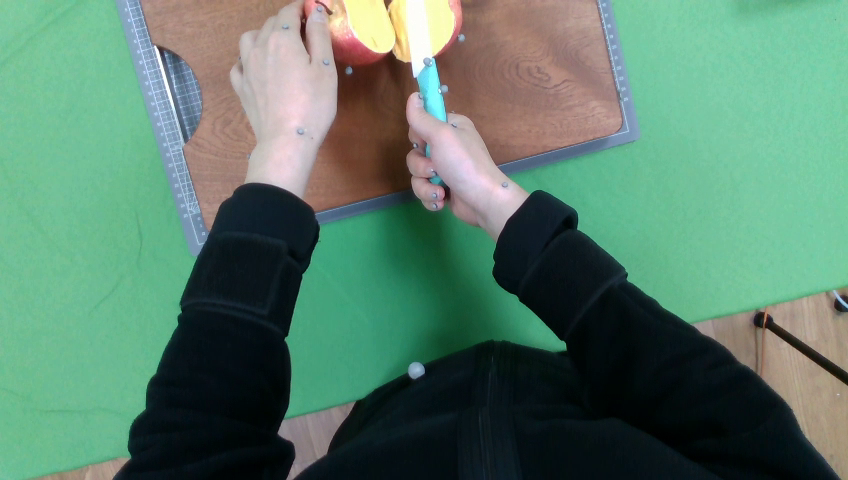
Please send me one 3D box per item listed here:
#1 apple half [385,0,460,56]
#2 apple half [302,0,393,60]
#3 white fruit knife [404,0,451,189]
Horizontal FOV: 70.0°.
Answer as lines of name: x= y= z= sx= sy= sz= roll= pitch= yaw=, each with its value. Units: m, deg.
apple half: x=0.003 y=-0.196 z=0.527 sx=0.081 sy=0.033 sz=0.081 roll=1 pitch=92 yaw=40
apple half: x=-0.069 y=-0.190 z=0.514 sx=0.053 sy=0.074 sz=0.081 roll=-19 pitch=98 yaw=31
white fruit knife: x=-0.001 y=-0.148 z=0.512 sx=0.027 sy=0.016 sz=0.207 roll=-10 pitch=87 yaw=38
